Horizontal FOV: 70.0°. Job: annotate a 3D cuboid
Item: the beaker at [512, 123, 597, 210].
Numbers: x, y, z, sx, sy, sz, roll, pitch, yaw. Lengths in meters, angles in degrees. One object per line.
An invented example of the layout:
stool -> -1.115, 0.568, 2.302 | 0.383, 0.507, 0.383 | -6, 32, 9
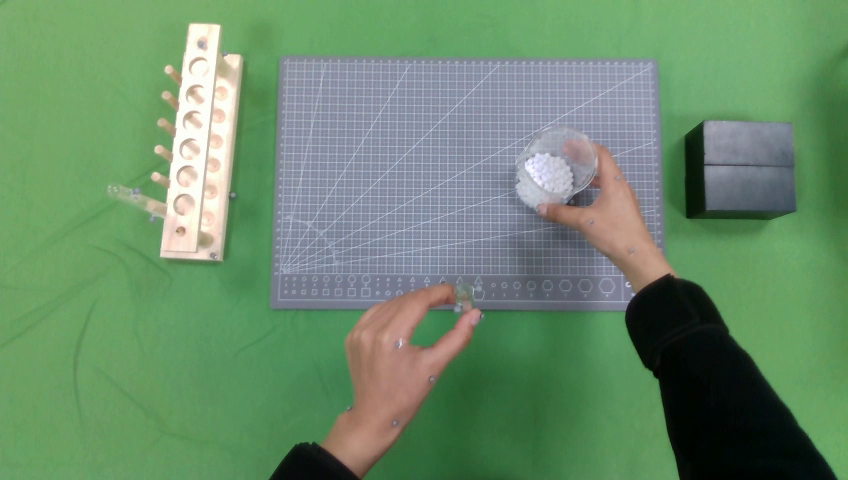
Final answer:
beaker -> 0.134, -0.074, 0.657 | 0.084, 0.100, 0.073 | -2, 81, 0

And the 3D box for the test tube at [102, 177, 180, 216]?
test tube -> -0.281, -0.040, 0.611 | 0.017, 0.151, 0.017 | 0, 83, -1

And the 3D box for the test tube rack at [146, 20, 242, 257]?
test tube rack -> -0.256, -0.107, 0.665 | 0.067, 0.085, 0.241 | 3, 83, 0

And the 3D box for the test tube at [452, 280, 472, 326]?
test tube -> 0.034, 0.059, 0.537 | 0.017, 0.151, 0.017 | -1, 73, 4
